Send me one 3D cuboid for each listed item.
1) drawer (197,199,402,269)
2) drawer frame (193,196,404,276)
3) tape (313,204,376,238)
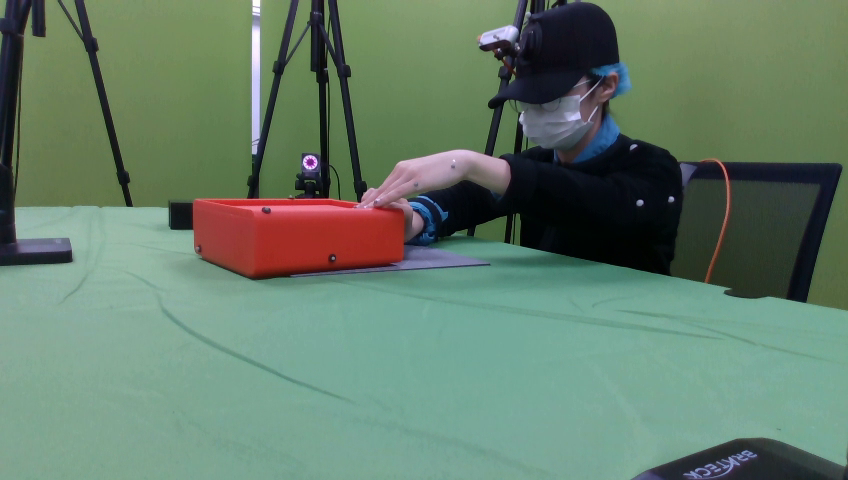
[{"bbox_3d":[-0.169,-0.014,0.817,0.213,0.073,0.193,-4,10,-39],"label":"drawer"},{"bbox_3d":[-0.169,-0.014,0.814,0.215,0.082,0.200,-5,10,-40],"label":"drawer frame"},{"bbox_3d":[-0.145,-0.036,1.117,0.117,0.052,0.117,3,7,0],"label":"tape"}]
